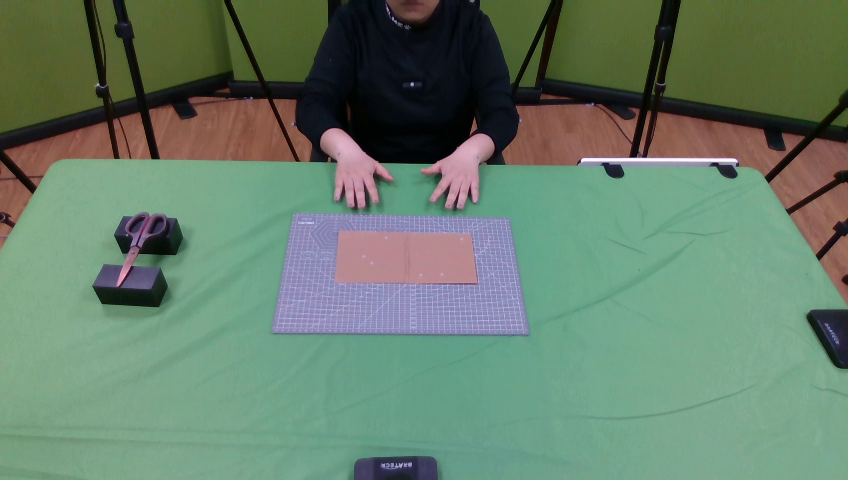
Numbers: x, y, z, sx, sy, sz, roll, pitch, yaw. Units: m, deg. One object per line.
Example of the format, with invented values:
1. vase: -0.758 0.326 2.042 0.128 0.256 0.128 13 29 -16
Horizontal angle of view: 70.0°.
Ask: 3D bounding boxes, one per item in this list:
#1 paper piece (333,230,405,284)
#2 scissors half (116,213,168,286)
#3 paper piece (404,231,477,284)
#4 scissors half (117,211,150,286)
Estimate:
1. paper piece: -0.104 0.031 1.165 0.135 0.004 0.135 2 47 -4
2. scissors half: -0.504 0.015 1.082 0.040 0.013 0.174 10 48 4
3. paper piece: 0.030 0.033 1.174 0.138 0.009 0.135 2 49 -3
4. scissors half: -0.524 0.013 1.080 0.040 0.013 0.174 1 48 -11
